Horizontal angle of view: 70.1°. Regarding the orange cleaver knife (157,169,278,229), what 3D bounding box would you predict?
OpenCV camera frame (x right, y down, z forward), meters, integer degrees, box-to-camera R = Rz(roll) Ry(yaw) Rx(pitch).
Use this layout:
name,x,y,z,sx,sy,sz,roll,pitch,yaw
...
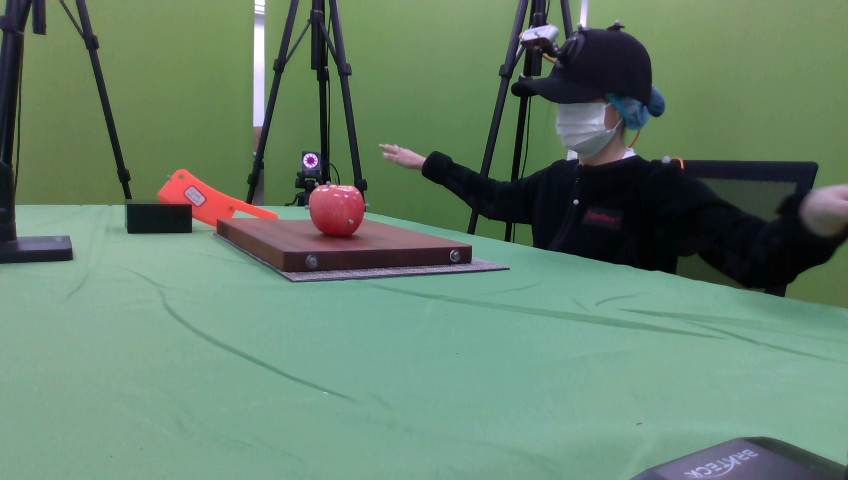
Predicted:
name,x,y,z,sx,sy,sz,roll,pitch,yaw
orange cleaver knife,-0.377,-0.061,1.116,0.212,0.077,0.012,25,-7,-28

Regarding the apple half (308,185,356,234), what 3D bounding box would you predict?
name,x,y,z,sx,sy,sz,roll,pitch,yaw
apple half,-0.143,-0.047,0.907,0.082,0.081,0.032,-1,12,-31

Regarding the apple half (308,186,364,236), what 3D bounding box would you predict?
name,x,y,z,sx,sy,sz,roll,pitch,yaw
apple half,-0.123,-0.041,0.874,0.081,0.074,0.053,4,9,-32
